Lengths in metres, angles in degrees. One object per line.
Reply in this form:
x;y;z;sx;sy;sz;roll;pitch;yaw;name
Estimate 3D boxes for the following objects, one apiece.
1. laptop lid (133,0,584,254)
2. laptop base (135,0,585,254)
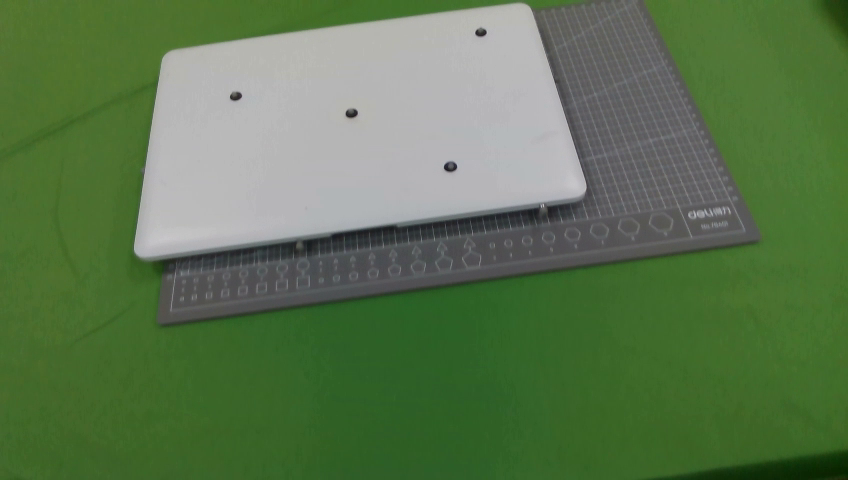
-0.062;-0.113;0.516;0.357;0.013;0.239;-7;61;0;laptop lid
-0.062;-0.109;0.527;0.354;0.023;0.233;-8;62;-1;laptop base
